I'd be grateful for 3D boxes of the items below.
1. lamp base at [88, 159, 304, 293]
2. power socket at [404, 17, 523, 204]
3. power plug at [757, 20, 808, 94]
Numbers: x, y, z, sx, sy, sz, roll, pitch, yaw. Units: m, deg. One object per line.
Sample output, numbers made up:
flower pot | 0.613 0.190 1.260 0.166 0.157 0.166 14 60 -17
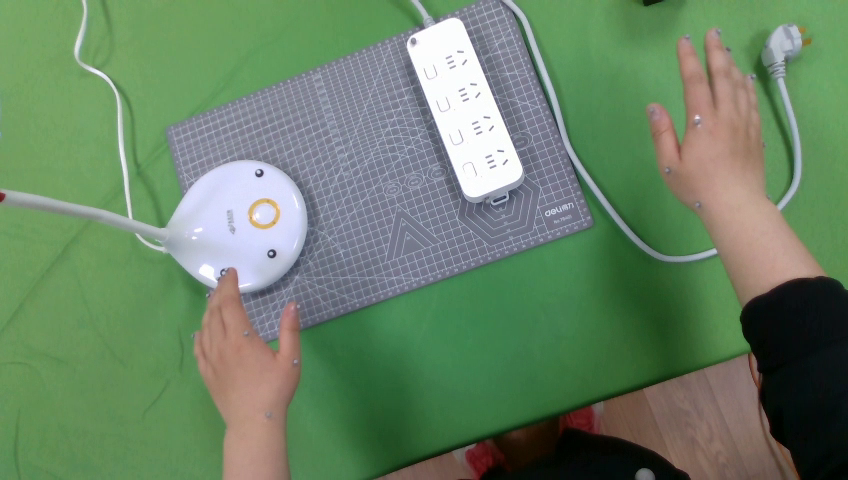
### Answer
lamp base | -0.243 -0.023 0.642 0.179 0.181 0.160 -26 78 8
power socket | 0.043 -0.148 0.685 0.072 0.033 0.225 -22 79 5
power plug | 0.382 -0.194 0.641 0.053 0.035 0.073 -17 100 -3
